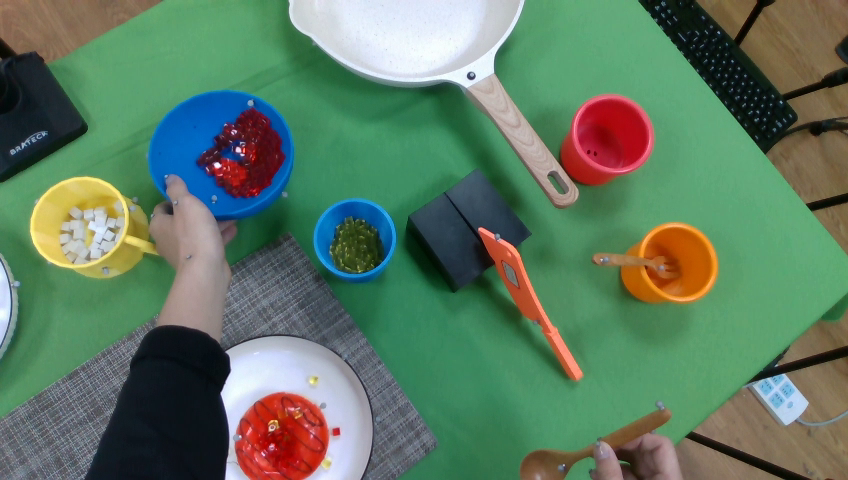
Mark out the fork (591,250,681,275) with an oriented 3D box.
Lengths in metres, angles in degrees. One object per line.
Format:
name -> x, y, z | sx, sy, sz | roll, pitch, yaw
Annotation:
fork -> 0.239, 0.023, 0.669 | 0.209, 0.018, 0.028 | 7, 75, -48

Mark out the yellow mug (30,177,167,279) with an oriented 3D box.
yellow mug -> -0.347, -0.007, 0.664 | 0.131, 0.064, 0.099 | 18, 77, -3

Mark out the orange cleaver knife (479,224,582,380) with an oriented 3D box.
orange cleaver knife -> 0.120, 0.071, 0.684 | 0.012, 0.076, 0.213 | -36, 113, -11

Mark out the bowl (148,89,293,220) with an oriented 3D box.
bowl -> -0.218, -0.083, 0.680 | 0.151, 0.077, 0.150 | 1, 71, -4

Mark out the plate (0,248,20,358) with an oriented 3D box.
plate -> -0.536, 0.076, 0.644 | 0.208, 0.039, 0.206 | 1, 79, -5

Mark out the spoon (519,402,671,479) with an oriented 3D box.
spoon -> 0.154, 0.192, 0.564 | 0.022, 0.194, 0.041 | -19, 71, -41

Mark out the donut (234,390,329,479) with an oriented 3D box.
donut -> -0.150, 0.208, 0.639 | 0.099, 0.048, 0.098 | 1, 82, -7

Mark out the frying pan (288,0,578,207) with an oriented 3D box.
frying pan -> 0.030, -0.235, 0.724 | 0.307, 0.103, 0.485 | -30, 75, -9

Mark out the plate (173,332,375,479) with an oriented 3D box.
plate -> -0.157, 0.204, 0.650 | 0.209, 0.038, 0.208 | 1, 79, -5

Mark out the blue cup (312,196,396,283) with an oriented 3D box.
blue cup -> -0.076, 0.008, 0.667 | 0.093, 0.100, 0.092 | 1, 76, -5
